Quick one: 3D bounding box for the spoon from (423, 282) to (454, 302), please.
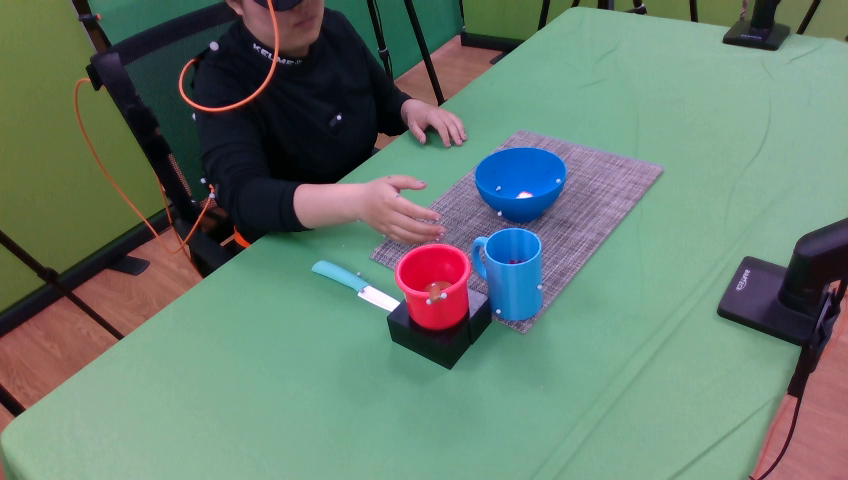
[{"bbox_3d":[0.015,0.062,0.733,0.041,0.021,0.194,-5,-4,3],"label":"spoon"}]

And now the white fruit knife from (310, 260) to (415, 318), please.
[{"bbox_3d":[-0.094,0.074,0.920,0.206,0.016,0.027,24,76,31],"label":"white fruit knife"}]

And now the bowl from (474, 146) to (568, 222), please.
[{"bbox_3d":[0.161,-0.083,1.000,0.151,0.077,0.150,-5,40,5],"label":"bowl"}]

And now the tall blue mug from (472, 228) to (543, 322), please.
[{"bbox_3d":[0.110,0.046,0.832,0.107,0.108,0.077,6,43,18],"label":"tall blue mug"}]
